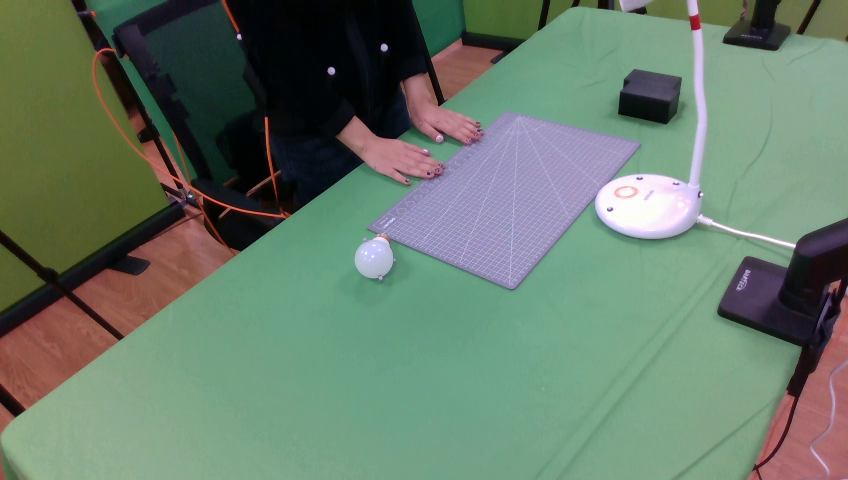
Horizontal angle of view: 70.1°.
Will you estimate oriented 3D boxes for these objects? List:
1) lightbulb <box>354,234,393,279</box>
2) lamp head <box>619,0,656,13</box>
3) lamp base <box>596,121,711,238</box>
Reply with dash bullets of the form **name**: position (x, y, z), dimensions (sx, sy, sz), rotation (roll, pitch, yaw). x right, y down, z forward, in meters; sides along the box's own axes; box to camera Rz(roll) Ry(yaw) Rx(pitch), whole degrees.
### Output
- **lightbulb**: position (-0.075, 0.020, 0.952), dimensions (0.059, 0.060, 0.107), rotation (-2, 25, 9)
- **lamp head**: position (0.282, -0.338, 0.715), dimensions (0.122, 0.113, 0.112), rotation (-9, 40, 15)
- **lamp base**: position (0.363, -0.113, 0.925), dimensions (0.178, 0.181, 0.161), rotation (17, 47, 24)
